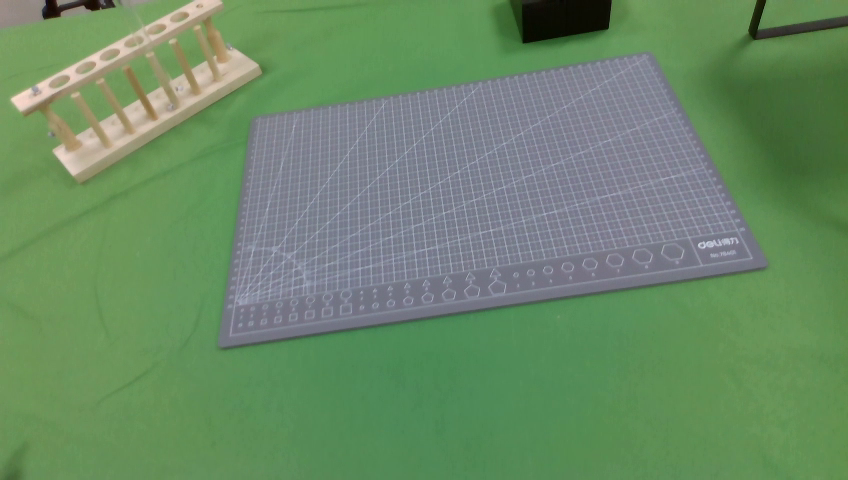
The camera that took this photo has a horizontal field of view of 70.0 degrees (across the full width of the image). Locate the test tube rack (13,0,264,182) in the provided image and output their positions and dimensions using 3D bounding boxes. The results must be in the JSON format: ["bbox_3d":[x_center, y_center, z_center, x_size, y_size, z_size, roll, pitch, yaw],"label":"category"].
[{"bbox_3d":[-0.311,-0.176,0.684,0.242,0.086,0.066,-39,55,-20],"label":"test tube rack"}]

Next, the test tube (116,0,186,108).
[{"bbox_3d":[-0.292,-0.205,0.645,0.017,0.152,0.017,-4,50,5],"label":"test tube"}]
